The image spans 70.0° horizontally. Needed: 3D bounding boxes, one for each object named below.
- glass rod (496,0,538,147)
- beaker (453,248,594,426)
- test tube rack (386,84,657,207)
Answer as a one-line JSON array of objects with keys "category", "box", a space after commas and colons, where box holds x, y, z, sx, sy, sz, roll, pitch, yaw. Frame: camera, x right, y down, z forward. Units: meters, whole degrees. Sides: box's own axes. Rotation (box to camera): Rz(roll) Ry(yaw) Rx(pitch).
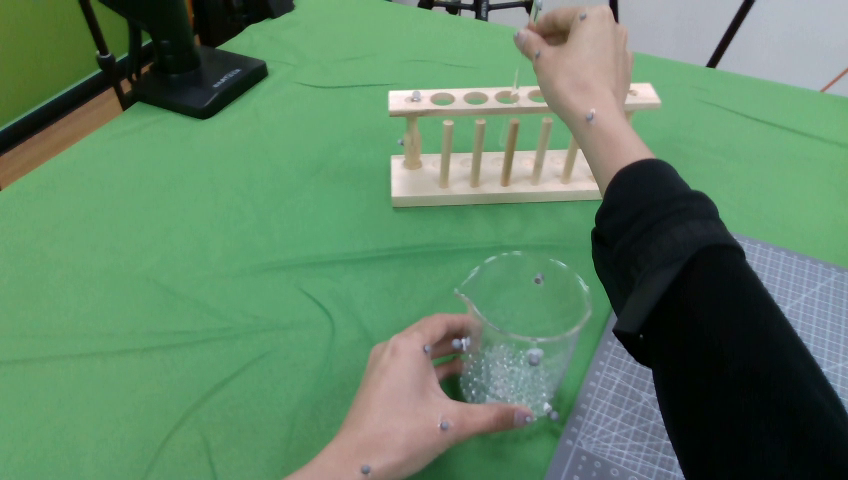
[{"category": "glass rod", "box": [0.079, -0.153, 0.502, 0.008, 0.201, 0.008, 3, 51, -4]}, {"category": "beaker", "box": [0.057, 0.066, 0.392, 0.084, 0.101, 0.073, 6, 42, 2]}, {"category": "test tube rack", "box": [0.088, -0.088, 0.564, 0.242, 0.086, 0.066, -2, 44, -3]}]
